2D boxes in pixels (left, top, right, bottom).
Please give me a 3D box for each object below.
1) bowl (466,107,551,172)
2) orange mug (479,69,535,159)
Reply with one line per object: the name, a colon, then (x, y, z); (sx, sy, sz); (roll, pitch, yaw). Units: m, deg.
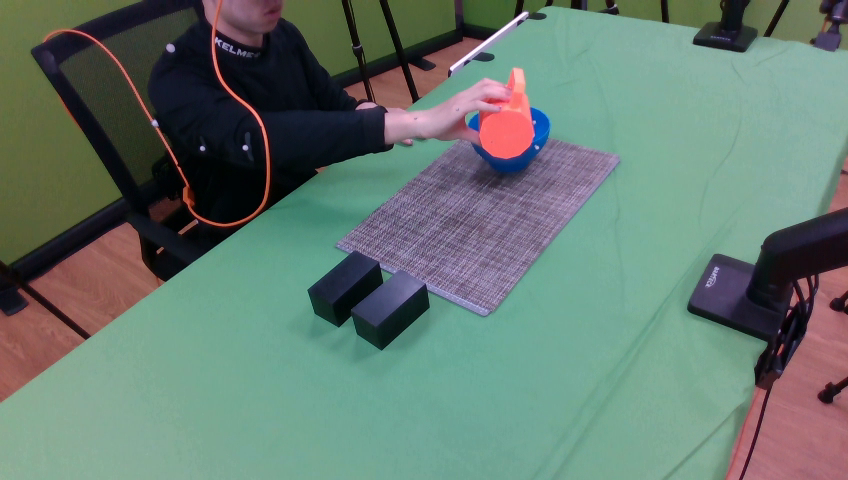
bowl: (0.155, -0.177, 1.105); (0.151, 0.077, 0.150); (-3, 40, 3)
orange mug: (0.137, -0.209, 0.980); (0.083, 0.126, 0.100); (10, 33, -4)
